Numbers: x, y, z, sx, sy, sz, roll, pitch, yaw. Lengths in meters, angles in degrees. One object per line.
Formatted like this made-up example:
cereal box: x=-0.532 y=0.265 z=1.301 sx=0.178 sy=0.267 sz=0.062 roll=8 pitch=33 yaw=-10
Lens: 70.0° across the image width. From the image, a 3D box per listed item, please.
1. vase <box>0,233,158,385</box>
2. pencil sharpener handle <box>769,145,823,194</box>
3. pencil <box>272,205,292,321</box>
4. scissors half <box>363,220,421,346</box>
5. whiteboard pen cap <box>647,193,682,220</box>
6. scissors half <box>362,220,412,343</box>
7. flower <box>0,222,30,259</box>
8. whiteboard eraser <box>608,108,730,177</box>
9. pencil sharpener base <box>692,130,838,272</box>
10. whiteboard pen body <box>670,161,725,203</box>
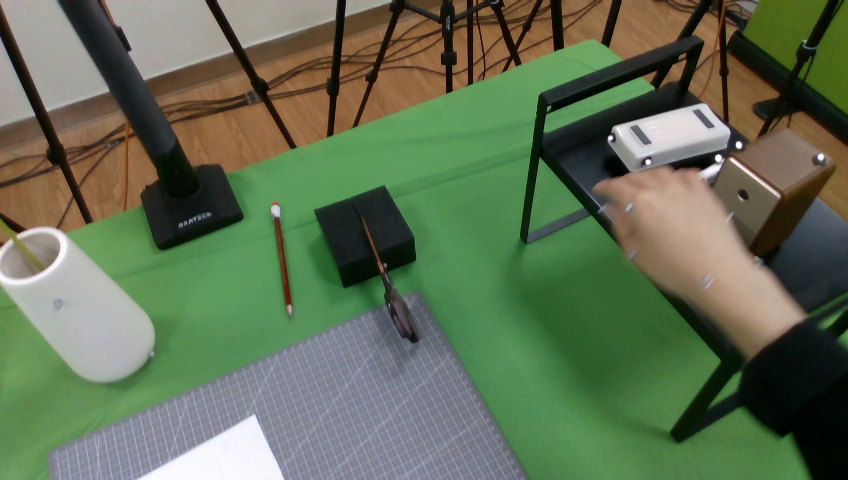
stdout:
vase: x=-0.371 y=0.078 z=0.657 sx=0.098 sy=0.202 sz=0.097 roll=-2 pitch=52 yaw=3
pencil sharpener handle: x=0.343 y=-0.066 z=0.551 sx=0.031 sy=0.068 sz=0.035 roll=-27 pitch=69 yaw=-17
pencil: x=-0.189 y=0.026 z=0.807 sx=0.012 sy=0.012 sz=0.192 roll=-13 pitch=54 yaw=-7
scissors half: x=-0.042 y=0.049 z=0.740 sx=0.013 sy=0.040 sz=0.174 roll=-28 pitch=74 yaw=10
whiteboard pen cap: x=0.240 y=-0.034 z=0.601 sx=0.033 sy=0.018 sz=0.018 roll=-28 pitch=56 yaw=-14
scissors half: x=-0.049 y=0.043 z=0.722 sx=0.013 sy=0.040 sz=0.173 roll=-26 pitch=56 yaw=5
flower: x=-0.387 y=0.021 z=0.596 sx=0.044 sy=0.365 sz=0.038 roll=-29 pitch=39 yaw=-14
whiteboard eraser: x=0.257 y=-0.100 z=0.638 sx=0.113 sy=0.042 sz=0.055 roll=-15 pitch=55 yaw=-9
pencil sharpener base: x=0.302 y=-0.034 z=0.544 sx=0.077 sy=0.108 sz=0.060 roll=-27 pitch=56 yaw=-17
whiteboard pen body: x=0.289 y=-0.062 z=0.615 sx=0.141 sy=0.017 sz=0.017 roll=-28 pitch=56 yaw=-13
